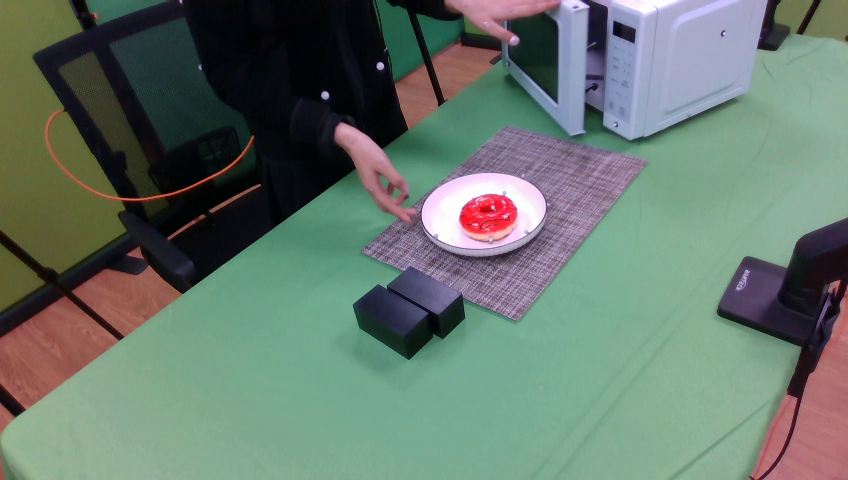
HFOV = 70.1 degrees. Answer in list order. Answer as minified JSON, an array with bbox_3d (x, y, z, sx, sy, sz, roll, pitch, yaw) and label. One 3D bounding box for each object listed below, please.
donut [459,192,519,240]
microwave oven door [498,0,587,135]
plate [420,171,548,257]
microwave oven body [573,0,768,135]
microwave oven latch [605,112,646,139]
[{"bbox_3d":[0.105,-0.040,0.976,0.099,0.048,0.098,-7,41,6],"label":"donut"},{"bbox_3d":[0.231,-0.399,1.212,0.039,0.245,0.353,-17,41,-8],"label":"microwave oven door"},{"bbox_3d":[0.098,-0.040,0.994,0.209,0.038,0.208,-5,40,5],"label":"plate"},{"bbox_3d":[0.411,-0.441,1.235,0.327,0.261,0.437,-25,42,-16],"label":"microwave oven body"},{"bbox_3d":[0.375,-0.217,1.130,0.030,0.029,0.078,-24,42,-16],"label":"microwave oven latch"}]
